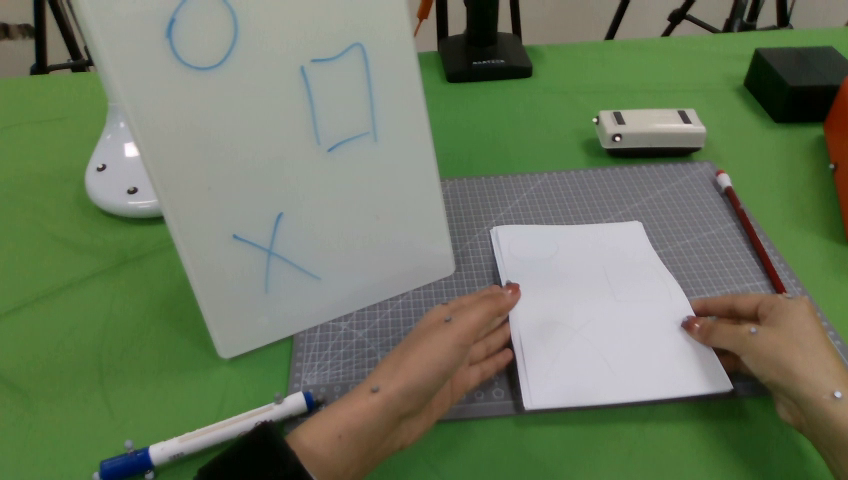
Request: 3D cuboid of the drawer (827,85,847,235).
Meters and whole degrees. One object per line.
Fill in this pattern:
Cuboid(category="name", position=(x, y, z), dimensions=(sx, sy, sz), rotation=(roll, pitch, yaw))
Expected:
Cuboid(category="drawer", position=(0.524, -0.069, 0.596), dimensions=(0.194, 0.074, 0.210), rotation=(12, 44, 16))

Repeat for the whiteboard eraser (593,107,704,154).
Cuboid(category="whiteboard eraser", position=(0.255, -0.125, 0.695), dimensions=(0.113, 0.042, 0.055), rotation=(0, 43, 2))

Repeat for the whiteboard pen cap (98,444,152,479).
Cuboid(category="whiteboard pen cap", position=(-0.202, 0.152, 0.414), dimensions=(0.033, 0.018, 0.018), rotation=(-16, 44, -21))

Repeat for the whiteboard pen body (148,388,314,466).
Cuboid(category="whiteboard pen body", position=(-0.148, 0.137, 0.433), dimensions=(0.141, 0.017, 0.017), rotation=(-17, 45, -18))

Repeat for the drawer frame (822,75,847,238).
Cuboid(category="drawer frame", position=(0.525, -0.072, 0.599), dimensions=(0.201, 0.083, 0.212), rotation=(11, 44, 15))

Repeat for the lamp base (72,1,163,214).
Cuboid(category="lamp base", position=(-0.302, -0.143, 0.625), dimensions=(0.178, 0.182, 0.160), rotation=(24, 49, 29))

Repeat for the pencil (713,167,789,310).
Cuboid(category="pencil", position=(0.314, -0.008, 0.585), dimensions=(0.012, 0.012, 0.192), rotation=(0, 45, 2))

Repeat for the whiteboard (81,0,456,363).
Cuboid(category="whiteboard", position=(-0.120, -0.092, 0.516), dimensions=(0.217, 0.308, 0.142), rotation=(-19, 26, -17))
